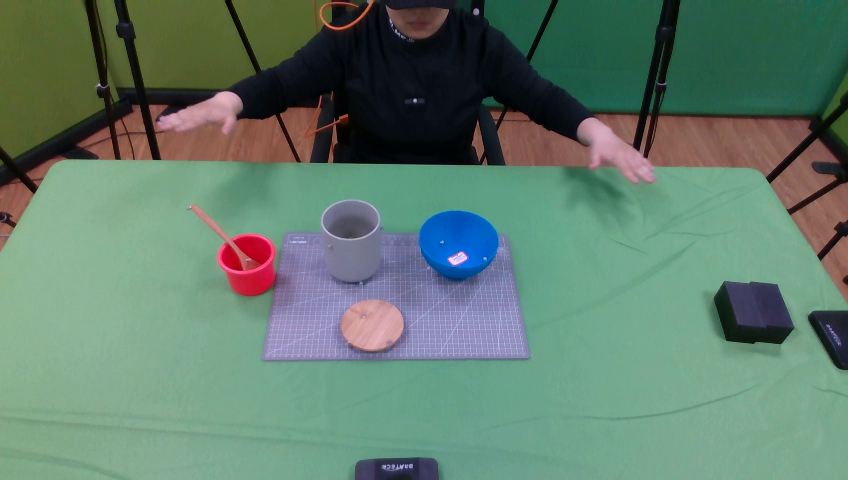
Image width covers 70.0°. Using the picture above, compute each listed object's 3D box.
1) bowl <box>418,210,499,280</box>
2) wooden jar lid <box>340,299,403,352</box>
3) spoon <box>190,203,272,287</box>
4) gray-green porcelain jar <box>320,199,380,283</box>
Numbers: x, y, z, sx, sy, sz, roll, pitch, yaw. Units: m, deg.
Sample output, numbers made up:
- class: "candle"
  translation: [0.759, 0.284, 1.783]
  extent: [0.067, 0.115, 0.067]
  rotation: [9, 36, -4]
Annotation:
- class: "bowl"
  translation: [0.062, 0.022, 1.140]
  extent: [0.151, 0.077, 0.150]
  rotation: [2, 46, -2]
- class: "wooden jar lid"
  translation: [-0.090, 0.150, 1.046]
  extent: [0.108, 0.021, 0.107]
  rotation: [3, 47, -3]
- class: "spoon"
  translation: [-0.344, 0.008, 1.080]
  extent: [0.194, 0.021, 0.041]
  rotation: [53, 52, -16]
- class: "gray-green porcelain jar"
  translation: [-0.133, 0.007, 1.106]
  extent: [0.106, 0.127, 0.105]
  rotation: [2, 46, -2]
